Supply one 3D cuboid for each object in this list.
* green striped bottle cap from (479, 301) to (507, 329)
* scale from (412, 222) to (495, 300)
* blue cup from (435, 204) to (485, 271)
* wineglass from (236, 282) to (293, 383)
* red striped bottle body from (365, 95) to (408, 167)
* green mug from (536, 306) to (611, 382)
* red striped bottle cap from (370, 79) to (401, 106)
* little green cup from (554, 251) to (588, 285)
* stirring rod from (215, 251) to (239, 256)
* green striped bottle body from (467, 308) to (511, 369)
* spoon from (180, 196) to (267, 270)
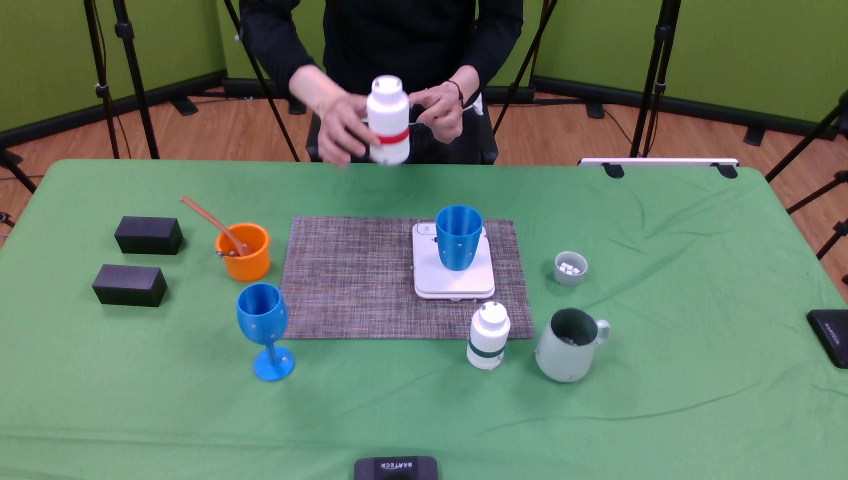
[{"bbox_3d":[0.109,0.118,0.950,0.044,0.020,0.044,2,47,-2],"label":"green striped bottle cap"},{"bbox_3d":[0.052,0.031,1.158,0.149,0.032,0.199,1,46,-4],"label":"scale"},{"bbox_3d":[0.061,0.001,1.097,0.092,0.101,0.092,0,44,0],"label":"blue cup"},{"bbox_3d":[-0.243,0.143,0.934,0.074,0.173,0.073,2,46,-2],"label":"wineglass"},{"bbox_3d":[-0.056,-0.175,0.910,0.063,0.120,0.062,0,46,0],"label":"red striped bottle body"},{"bbox_3d":[0.250,0.167,0.996,0.125,0.105,0.092,-15,49,-19],"label":"green mug"},{"bbox_3d":[-0.056,-0.213,0.872,0.044,0.018,0.044,1,48,0],"label":"red striped bottle cap"},{"bbox_3d":[0.276,0.055,1.151,0.061,0.039,0.061,1,46,-1],"label":"little green cup"},{"bbox_3d":[-0.340,0.024,1.059,0.014,0.176,0.006,16,86,-6],"label":"stirring rod"},{"bbox_3d":[0.106,0.154,0.988,0.063,0.120,0.063,2,46,-2],"label":"green striped bottle body"},{"bbox_3d":[-0.360,-0.014,1.095,0.021,0.194,0.041,-26,27,32],"label":"spoon"}]
